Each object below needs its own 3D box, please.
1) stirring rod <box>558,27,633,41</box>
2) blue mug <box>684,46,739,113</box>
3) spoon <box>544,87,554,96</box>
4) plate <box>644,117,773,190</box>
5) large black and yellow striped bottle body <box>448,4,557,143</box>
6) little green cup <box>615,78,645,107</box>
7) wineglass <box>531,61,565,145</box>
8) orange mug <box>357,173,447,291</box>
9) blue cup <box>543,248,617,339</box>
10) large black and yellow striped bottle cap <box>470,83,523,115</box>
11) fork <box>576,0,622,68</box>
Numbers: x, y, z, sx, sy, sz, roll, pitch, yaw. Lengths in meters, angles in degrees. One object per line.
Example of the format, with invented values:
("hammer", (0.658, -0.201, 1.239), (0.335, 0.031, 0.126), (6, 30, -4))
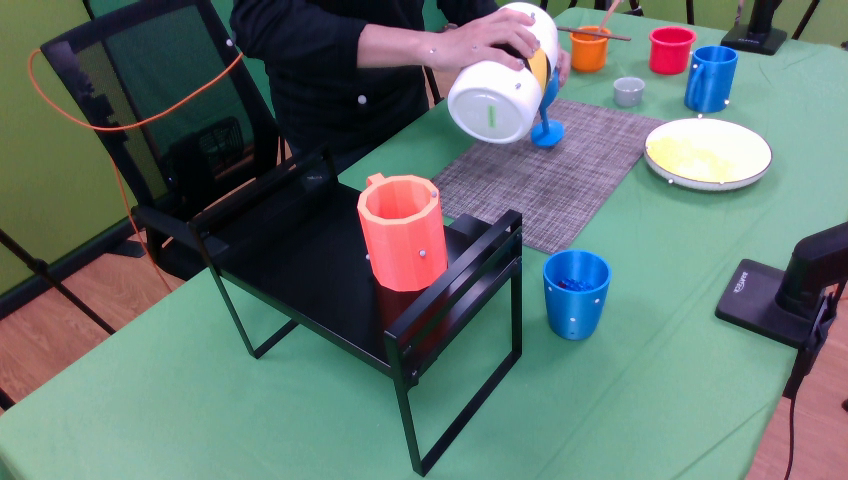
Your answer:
("stirring rod", (0.381, -0.463, 1.356), (0.175, 0.006, 0.014), (21, 47, 30))
("blue mug", (0.556, -0.310, 1.190), (0.117, 0.106, 0.081), (-32, 46, -25))
("spoon", (0.227, -0.285, 1.269), (0.041, 0.022, 0.194), (3, 37, 44))
("plate", (0.495, -0.148, 1.063), (0.209, 0.038, 0.208), (-5, 40, 4))
("large black and yellow striped bottle body", (0.127, -0.255, 0.921), (0.130, 0.131, 0.184), (12, 62, 22))
("little green cup", (0.426, -0.306, 1.257), (0.061, 0.039, 0.061), (-4, 40, 4))
("wineglass", (0.215, -0.254, 1.089), (0.073, 0.173, 0.073), (-9, 54, 13))
("orange mug", (-0.030, -0.018, 0.669), (0.084, 0.101, 0.125), (-23, 46, -16))
("blue cup", (0.199, 0.076, 0.797), (0.092, 0.100, 0.092), (-4, 39, 4))
("large black and yellow striped bottle cap", (0.156, -0.308, 1.316), (0.115, 0.019, 0.114), (-7, 39, 6))
("fork", (0.409, -0.484, 1.381), (0.028, 0.019, 0.207), (37, 101, 45))
